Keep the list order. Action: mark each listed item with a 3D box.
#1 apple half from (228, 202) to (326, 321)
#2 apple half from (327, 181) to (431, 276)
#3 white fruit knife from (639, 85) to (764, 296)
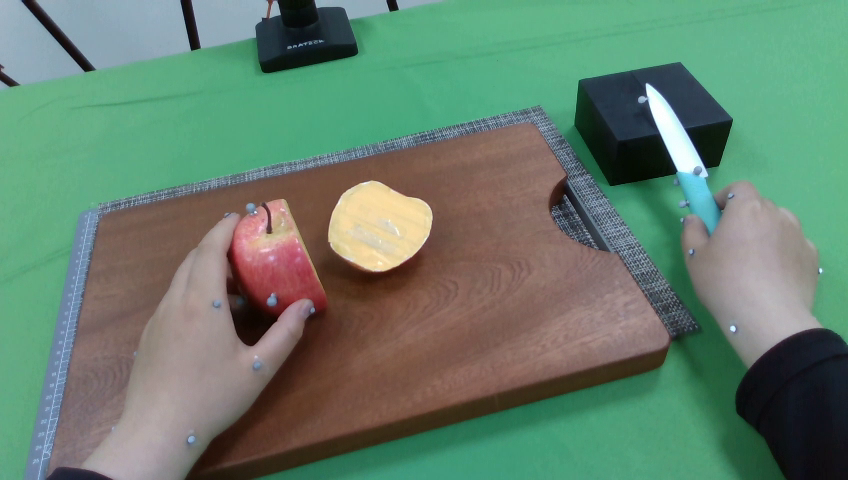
[{"bbox_3d":[-0.106,0.021,0.422,0.053,0.075,0.080,-24,51,-10],"label":"apple half"},{"bbox_3d":[-0.036,-0.003,0.464,0.081,0.033,0.080,0,61,0],"label":"apple half"},{"bbox_3d":[0.215,-0.047,0.489,0.027,0.016,0.205,-12,63,-4],"label":"white fruit knife"}]
